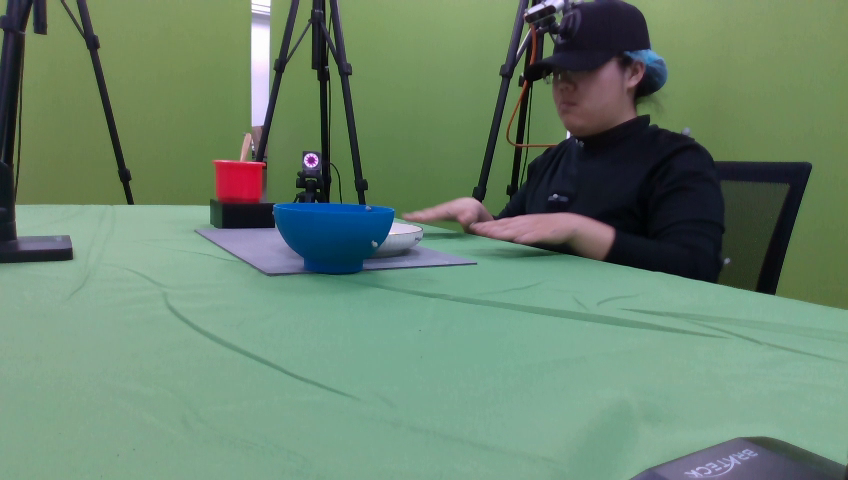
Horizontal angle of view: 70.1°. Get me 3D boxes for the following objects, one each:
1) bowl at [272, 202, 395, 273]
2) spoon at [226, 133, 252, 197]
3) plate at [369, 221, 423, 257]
[{"bbox_3d":[-0.112,-0.003,0.751,0.151,0.077,0.151,3,7,0],"label":"bowl"},{"bbox_3d":[-0.356,-0.150,1.189,0.042,0.021,0.193,0,51,-3],"label":"spoon"},{"bbox_3d":[-0.105,-0.004,0.922,0.208,0.039,0.207,3,7,0],"label":"plate"}]
